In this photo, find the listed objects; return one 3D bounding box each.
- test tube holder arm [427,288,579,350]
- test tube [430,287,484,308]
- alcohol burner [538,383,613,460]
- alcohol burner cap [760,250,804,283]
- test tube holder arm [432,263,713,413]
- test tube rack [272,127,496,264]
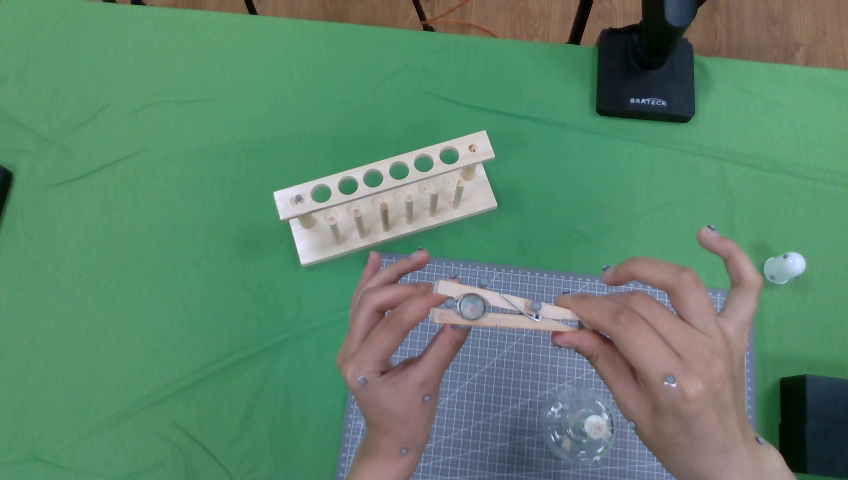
[{"bbox_3d":[0.045,0.045,0.338,0.088,0.015,0.010,17,54,-12],"label":"test tube holder arm"},{"bbox_3d":[0.019,0.040,0.405,0.017,0.150,0.017,0,86,-6],"label":"test tube"},{"bbox_3d":[0.157,0.183,0.612,0.078,0.119,0.077,0,75,-1],"label":"alcohol burner"},{"bbox_3d":[0.415,0.029,0.697,0.034,0.048,0.033,0,73,1],"label":"alcohol burner cap"},{"bbox_3d":[0.087,0.057,0.347,0.179,0.015,0.013,25,54,-6],"label":"test tube holder arm"},{"bbox_3d":[-0.038,-0.048,0.691,0.242,0.085,0.066,-17,74,-5],"label":"test tube rack"}]
